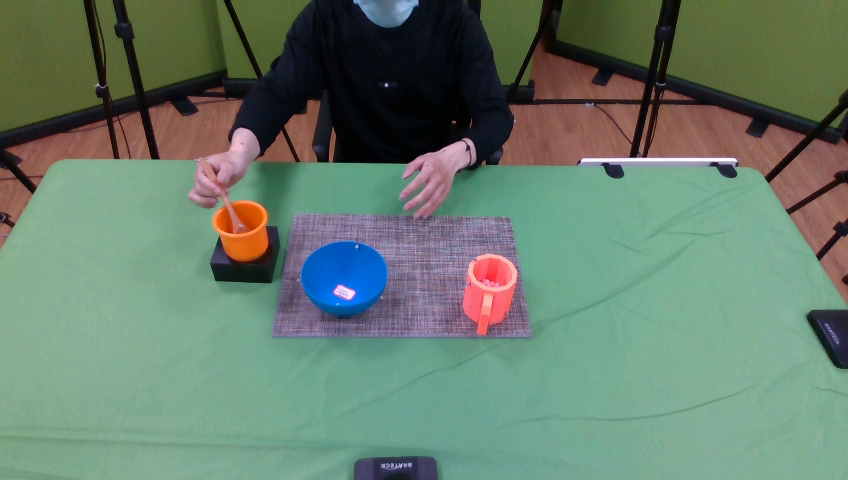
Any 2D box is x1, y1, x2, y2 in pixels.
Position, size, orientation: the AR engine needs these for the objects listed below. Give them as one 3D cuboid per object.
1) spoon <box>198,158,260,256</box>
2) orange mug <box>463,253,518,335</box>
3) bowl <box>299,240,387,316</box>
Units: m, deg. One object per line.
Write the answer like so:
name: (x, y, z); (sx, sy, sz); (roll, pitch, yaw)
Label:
spoon: (-0.345, -0.058, 1.070); (0.041, 0.194, 0.021); (-32, 12, -39)
orange mug: (0.112, 0.098, 1.050); (0.083, 0.101, 0.125); (10, 41, 6)
bowl: (-0.139, 0.080, 1.064); (0.151, 0.077, 0.150); (2, 46, -2)
